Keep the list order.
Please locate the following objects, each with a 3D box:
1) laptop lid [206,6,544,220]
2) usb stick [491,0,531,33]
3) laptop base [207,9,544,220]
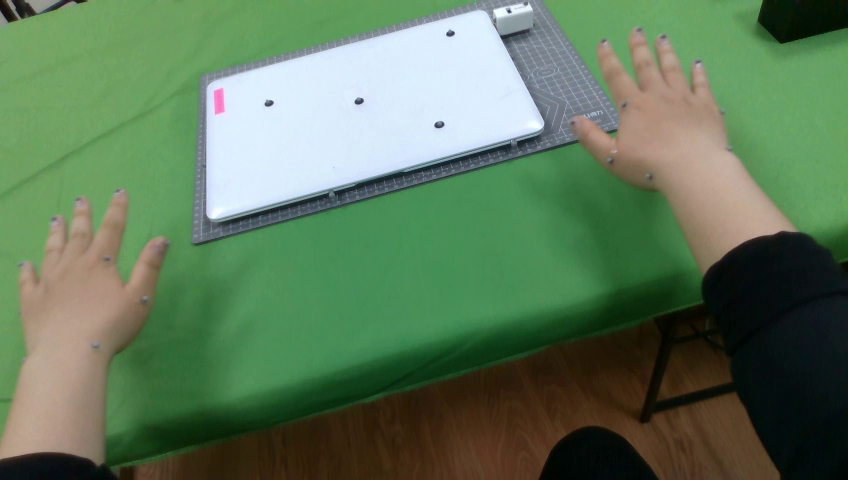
[{"bbox_3d":[-0.071,-0.153,0.670,0.357,0.013,0.239,-15,53,0],"label":"laptop lid"},{"bbox_3d":[0.097,-0.266,0.725,0.059,0.027,0.021,-16,50,2],"label":"usb stick"},{"bbox_3d":[-0.070,-0.148,0.680,0.354,0.023,0.233,-16,54,-1],"label":"laptop base"}]
